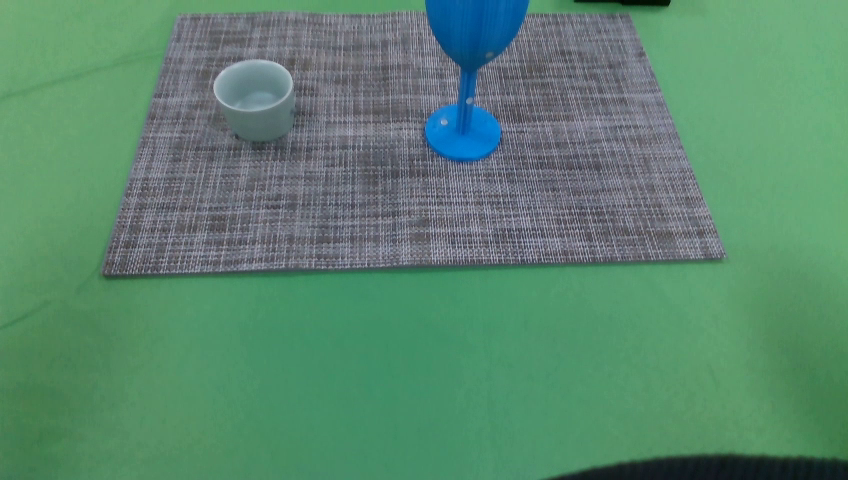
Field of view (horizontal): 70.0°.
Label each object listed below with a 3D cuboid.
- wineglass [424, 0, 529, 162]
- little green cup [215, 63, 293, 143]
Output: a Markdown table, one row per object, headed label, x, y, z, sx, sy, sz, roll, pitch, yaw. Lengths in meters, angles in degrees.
| label | x | y | z | sx | sy | sz | roll | pitch | yaw |
| --- | --- | --- | --- | --- | --- | --- | --- | --- | --- |
| wineglass | 0.034 | -0.140 | 0.442 | 0.074 | 0.173 | 0.073 | 1 | 54 | -1 |
| little green cup | -0.136 | -0.111 | 0.497 | 0.061 | 0.039 | 0.061 | 1 | 54 | -1 |
